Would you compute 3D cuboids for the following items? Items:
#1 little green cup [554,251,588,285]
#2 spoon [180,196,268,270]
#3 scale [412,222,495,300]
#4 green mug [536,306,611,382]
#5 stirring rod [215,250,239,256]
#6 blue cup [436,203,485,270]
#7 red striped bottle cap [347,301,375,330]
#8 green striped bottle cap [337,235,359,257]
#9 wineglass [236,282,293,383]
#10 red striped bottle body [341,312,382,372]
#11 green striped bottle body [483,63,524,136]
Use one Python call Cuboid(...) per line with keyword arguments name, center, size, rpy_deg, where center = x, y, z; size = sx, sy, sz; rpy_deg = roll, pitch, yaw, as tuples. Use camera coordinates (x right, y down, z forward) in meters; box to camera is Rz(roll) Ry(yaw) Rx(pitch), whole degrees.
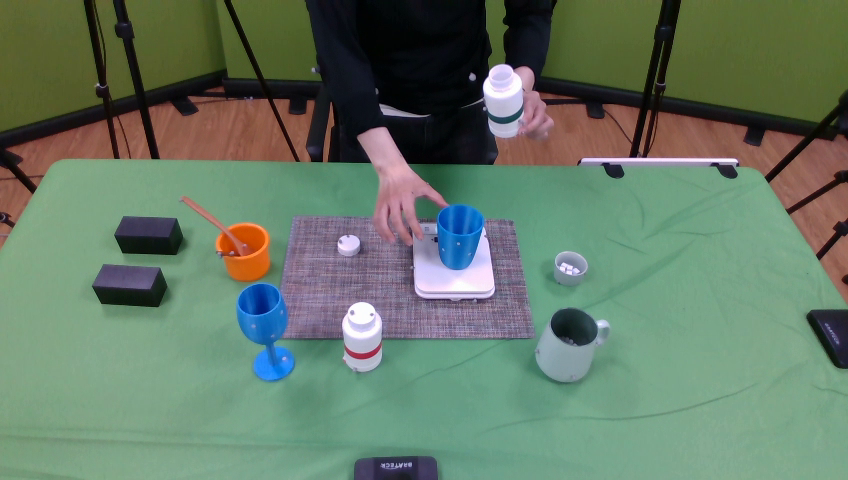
Cuboid(name="little green cup", center=(0.277, 0.055, 1.151), size=(0.061, 0.039, 0.061), rpy_deg=(1, 46, -1))
Cuboid(name="spoon", center=(-0.360, -0.014, 1.094), size=(0.021, 0.194, 0.041), rpy_deg=(-28, 26, 31))
Cuboid(name="scale", center=(0.052, 0.031, 1.158), size=(0.149, 0.032, 0.199), rpy_deg=(1, 46, -4))
Cuboid(name="green mug", center=(0.250, 0.167, 0.996), size=(0.125, 0.105, 0.092), rpy_deg=(-15, 49, -18))
Cuboid(name="stirring rod", center=(-0.339, 0.024, 1.059), size=(0.014, 0.176, 0.006), rpy_deg=(17, 86, -6))
Cuboid(name="blue cup", center=(0.061, -0.001, 1.098), size=(0.093, 0.101, 0.092), rpy_deg=(2, 43, -2))
Cuboid(name="red striped bottle cap", center=(-0.097, 0.116, 0.934), size=(0.044, 0.018, 0.044), rpy_deg=(3, 49, -3))
Cuboid(name="green striped bottle cap", center=(-0.147, 0.011, 1.176), size=(0.044, 0.020, 0.044), rpy_deg=(4, 49, -4))
Cuboid(name="wineglass", center=(-0.243, 0.143, 0.934), size=(0.074, 0.173, 0.073), rpy_deg=(2, 46, -2))
Cuboid(name="red striped bottle body", center=(-0.100, 0.154, 0.972), size=(0.063, 0.120, 0.062), rpy_deg=(2, 46, -1))
Cuboid(name="green striped bottle body", center=(0.131, -0.233, 0.996), size=(0.063, 0.120, 0.063), rpy_deg=(-6, 57, 9))
